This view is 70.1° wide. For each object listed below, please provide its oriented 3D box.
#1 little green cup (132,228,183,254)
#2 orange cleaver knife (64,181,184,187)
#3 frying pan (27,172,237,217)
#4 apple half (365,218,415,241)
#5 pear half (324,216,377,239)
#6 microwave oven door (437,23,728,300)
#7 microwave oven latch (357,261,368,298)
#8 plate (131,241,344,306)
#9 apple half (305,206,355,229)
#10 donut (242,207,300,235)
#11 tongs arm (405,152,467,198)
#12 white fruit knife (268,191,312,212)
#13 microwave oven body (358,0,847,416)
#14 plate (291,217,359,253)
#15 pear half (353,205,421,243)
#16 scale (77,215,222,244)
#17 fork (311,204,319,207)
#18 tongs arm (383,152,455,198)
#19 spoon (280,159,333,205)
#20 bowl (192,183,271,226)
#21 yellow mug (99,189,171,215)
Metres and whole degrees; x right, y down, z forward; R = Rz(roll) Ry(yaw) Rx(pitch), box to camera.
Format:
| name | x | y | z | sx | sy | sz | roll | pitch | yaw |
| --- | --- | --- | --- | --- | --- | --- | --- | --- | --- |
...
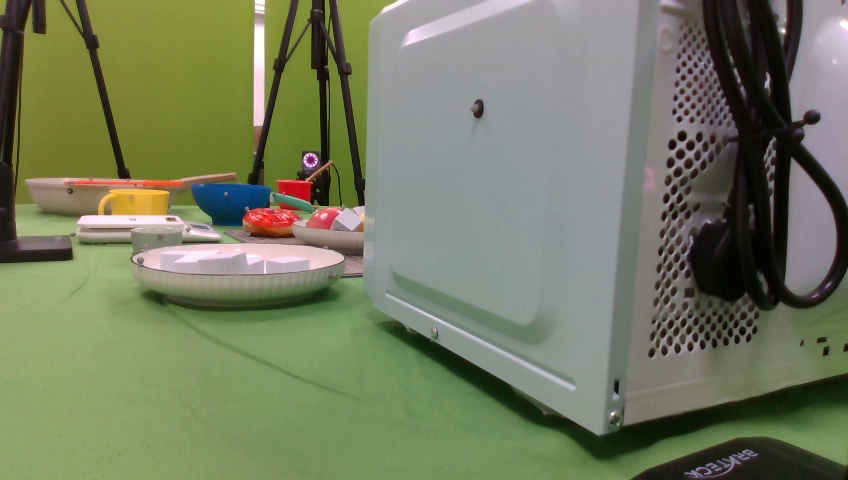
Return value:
| name | x | y | z | sx | sy | sz | roll | pitch | yaw |
| --- | --- | --- | --- | --- | --- | --- | --- | --- | --- |
| little green cup | -0.342 | 0.006 | 0.779 | 0.061 | 0.038 | 0.061 | 2 | 8 | 0 |
| orange cleaver knife | -0.596 | -0.113 | 1.212 | 0.212 | 0.012 | 0.077 | -3 | 7 | -41 |
| frying pan | -0.624 | -0.118 | 1.387 | 0.305 | 0.102 | 0.490 | 8 | 17 | 32 |
| apple half | -0.053 | -0.019 | 0.966 | 0.081 | 0.033 | 0.081 | -3 | 10 | 1 |
| pear half | -0.119 | -0.023 | 0.996 | 0.088 | 0.031 | 0.070 | -4 | 23 | -28 |
| microwave oven door | 0.180 | -0.072 | 0.621 | 0.358 | 0.243 | 0.039 | -2 | 8 | -29 |
| microwave oven latch | -0.019 | 0.033 | 0.530 | 0.079 | 0.029 | 0.030 | -1 | 7 | -26 |
| plate | -0.187 | 0.033 | 0.625 | 0.208 | 0.039 | 0.207 | 2 | 7 | 0 |
| apple half | -0.138 | -0.025 | 0.917 | 0.081 | 0.053 | 0.074 | 0 | 10 | -43 |
| donut | -0.263 | -0.032 | 1.039 | 0.099 | 0.048 | 0.099 | 4 | 9 | 0 |
| tongs arm | 0.021 | -0.126 | 1.110 | 0.050 | 0.026 | 0.386 | 1 | 15 | 22 |
| white fruit knife | -0.364 | -0.105 | 1.464 | 0.208 | 0.027 | 0.016 | 15 | -1 | -34 |
| microwave oven body | 0.211 | -0.047 | 0.475 | 0.444 | 0.260 | 0.324 | -1 | 7 | -28 |
| plate | -0.103 | -0.009 | 0.945 | 0.209 | 0.038 | 0.209 | 2 | 7 | 0 |
| pear half | -0.051 | -0.024 | 0.905 | 0.110 | 0.056 | 0.076 | 1 | -1 | -38 |
| scale | -0.434 | -0.019 | 0.963 | 0.202 | 0.031 | 0.148 | -1 | 9 | -27 |
| fork | -0.356 | -0.105 | 1.526 | 0.208 | 0.018 | 0.028 | 16 | -5 | -41 |
| tongs arm | -0.002 | -0.127 | 1.117 | 0.028 | 0.028 | 0.388 | -4 | 14 | 18 |
| spoon | -0.317 | -0.159 | 1.640 | 0.194 | 0.022 | 0.041 | -49 | 32 | -20 |
| bowl | -0.382 | -0.071 | 1.202 | 0.151 | 0.077 | 0.151 | 3 | 7 | 0 |
| yellow mug | -0.519 | -0.055 | 1.080 | 0.099 | 0.064 | 0.131 | 7 | 9 | 26 |
